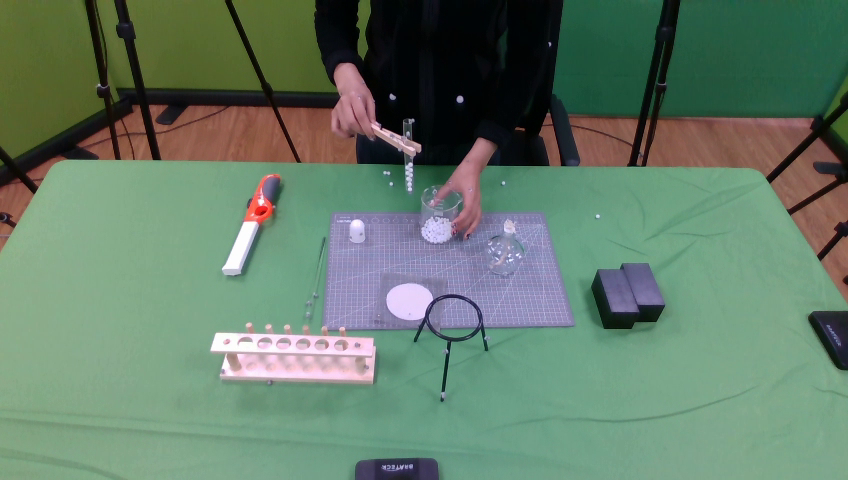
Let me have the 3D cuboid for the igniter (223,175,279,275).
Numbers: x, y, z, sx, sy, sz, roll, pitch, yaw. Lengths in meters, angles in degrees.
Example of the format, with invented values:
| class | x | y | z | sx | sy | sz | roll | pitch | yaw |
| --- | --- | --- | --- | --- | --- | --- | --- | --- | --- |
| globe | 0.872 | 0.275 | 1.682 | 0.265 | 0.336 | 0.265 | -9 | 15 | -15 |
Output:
| class | x | y | z | sx | sy | sz | roll | pitch | yaw |
| --- | --- | --- | --- | --- | --- | --- | --- | --- | --- |
| igniter | -0.341 | -0.039 | 1.207 | 0.057 | 0.025 | 0.275 | -1 | 45 | 8 |

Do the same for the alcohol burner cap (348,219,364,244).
| class | x | y | z | sx | sy | sz | roll | pitch | yaw |
| --- | --- | --- | --- | --- | --- | --- | --- | --- | --- |
| alcohol burner cap | -0.134 | -0.019 | 1.190 | 0.034 | 0.048 | 0.033 | 2 | 46 | -2 |

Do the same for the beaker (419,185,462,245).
| class | x | y | z | sx | sy | sz | roll | pitch | yaw |
| --- | --- | --- | --- | --- | --- | --- | --- | --- | --- |
| beaker | 0.029 | -0.046 | 1.190 | 0.084 | 0.101 | 0.073 | -4 | 47 | -9 |

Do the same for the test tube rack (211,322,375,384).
| class | x | y | z | sx | sy | sz | roll | pitch | yaw |
| --- | --- | --- | --- | --- | --- | --- | --- | --- | --- |
| test tube rack | -0.202 | 0.176 | 0.969 | 0.242 | 0.085 | 0.066 | 3 | 46 | -2 |

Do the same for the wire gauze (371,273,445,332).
| class | x | y | z | sx | sy | sz | roll | pitch | yaw |
| --- | --- | --- | --- | --- | --- | --- | --- | --- | --- |
| wire gauze | -0.028 | 0.108 | 1.100 | 0.125 | 0.011 | 0.121 | 7 | 45 | 4 |

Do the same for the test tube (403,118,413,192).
| class | x | y | z | sx | sy | sz | roll | pitch | yaw |
| --- | --- | --- | --- | --- | --- | --- | --- | --- | --- |
| test tube | -0.029 | -0.148 | 1.078 | 0.017 | 0.151 | 0.017 | 0 | 42 | 0 |

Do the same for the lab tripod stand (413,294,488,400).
| class | x | y | z | sx | sy | sz | roll | pitch | yaw |
| --- | --- | --- | --- | --- | --- | --- | --- | --- | --- |
| lab tripod stand | 0.044 | 0.159 | 0.972 | 0.148 | 0.132 | 0.147 | 2 | 44 | -2 |

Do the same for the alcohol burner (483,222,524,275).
| class | x | y | z | sx | sy | sz | roll | pitch | yaw |
| --- | --- | --- | --- | --- | --- | --- | --- | --- | --- |
| alcohol burner | 0.152 | 0.009 | 1.135 | 0.078 | 0.119 | 0.077 | 4 | 47 | -4 |

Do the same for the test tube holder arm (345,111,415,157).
| class | x | y | z | sx | sy | sz | roll | pitch | yaw |
| --- | --- | --- | --- | --- | --- | --- | --- | --- | --- |
| test tube holder arm | -0.082 | -0.194 | 1.094 | 0.177 | 0.015 | 0.013 | 33 | 48 | 29 |

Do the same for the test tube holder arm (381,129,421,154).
| class | x | y | z | sx | sy | sz | roll | pitch | yaw |
| --- | --- | --- | --- | --- | --- | --- | --- | --- | --- |
| test tube holder arm | -0.044 | -0.176 | 1.077 | 0.087 | 0.015 | 0.010 | 26 | 46 | 23 |

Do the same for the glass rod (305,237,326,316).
| class | x | y | z | sx | sy | sz | roll | pitch | yaw |
| --- | --- | --- | --- | --- | --- | --- | --- | --- | --- |
| glass rod | -0.202 | 0.063 | 1.131 | 0.008 | 0.008 | 0.198 | 4 | 44 | 0 |
